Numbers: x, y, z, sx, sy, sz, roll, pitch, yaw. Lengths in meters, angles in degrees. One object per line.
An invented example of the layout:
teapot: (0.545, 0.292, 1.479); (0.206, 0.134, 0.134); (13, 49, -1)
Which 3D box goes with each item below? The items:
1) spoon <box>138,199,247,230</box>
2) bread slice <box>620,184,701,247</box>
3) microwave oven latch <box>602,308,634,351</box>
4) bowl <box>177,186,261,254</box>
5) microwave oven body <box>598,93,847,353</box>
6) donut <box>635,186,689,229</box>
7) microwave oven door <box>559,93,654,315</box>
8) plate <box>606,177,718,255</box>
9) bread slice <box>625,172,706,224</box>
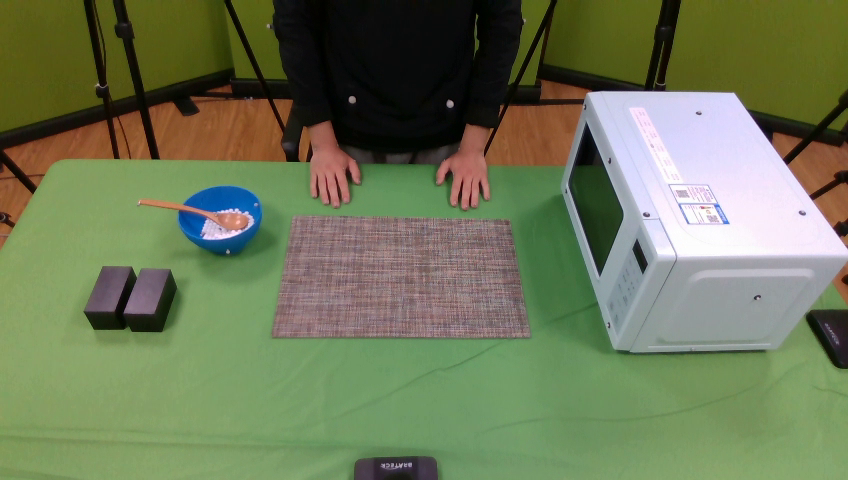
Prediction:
spoon: (-0.431, -0.053, 1.136); (0.194, 0.022, 0.041); (15, 48, -20)
bread slice: (0.462, -0.044, 1.170); (0.134, 0.018, 0.107); (32, 60, 20)
microwave oven latch: (0.332, 0.153, 1.044); (0.030, 0.029, 0.078); (-1, 45, -4)
bowl: (-0.383, -0.026, 1.158); (0.151, 0.077, 0.150); (2, 46, -2)
microwave oven body: (0.475, -0.041, 1.110); (0.326, 0.261, 0.438); (-1, 45, -4)
donut: (0.454, -0.062, 1.159); (0.099, 0.048, 0.098); (-1, 47, 2)
microwave oven door: (0.327, -0.074, 1.123); (0.039, 0.245, 0.353); (-1, 46, -5)
plate: (0.457, -0.043, 1.180); (0.208, 0.039, 0.206); (0, 46, 0)
bread slice: (0.461, -0.079, 1.139); (0.131, 0.019, 0.105); (36, 51, 30)
